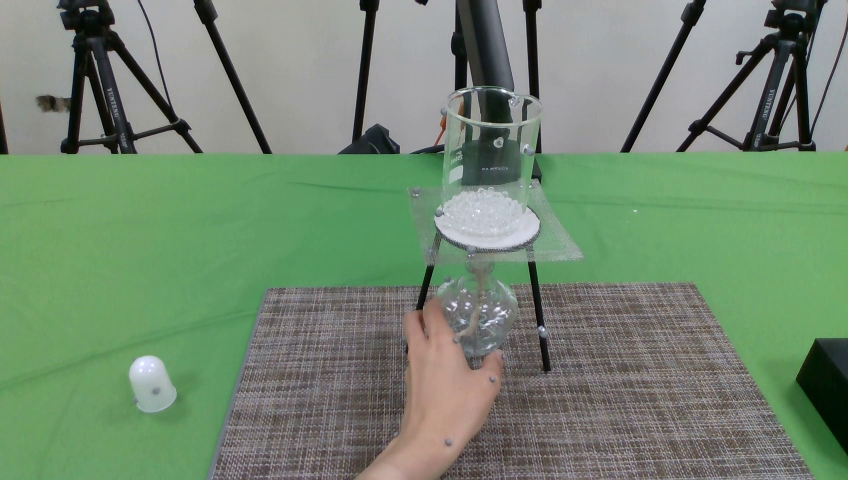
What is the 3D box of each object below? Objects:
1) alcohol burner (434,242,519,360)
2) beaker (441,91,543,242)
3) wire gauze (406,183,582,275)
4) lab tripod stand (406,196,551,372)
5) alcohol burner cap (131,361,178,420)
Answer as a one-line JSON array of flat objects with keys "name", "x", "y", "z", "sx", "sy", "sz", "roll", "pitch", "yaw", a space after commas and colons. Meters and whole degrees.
[{"name": "alcohol burner", "x": 0.048, "y": 0.050, "z": 0.541, "sx": 0.078, "sy": 0.120, "sz": 0.077, "roll": 1, "pitch": 36, "yaw": -1}, {"name": "beaker", "x": 0.051, "y": -0.057, "z": 0.476, "sx": 0.073, "sy": 0.101, "sz": 0.084, "roll": 21, "pitch": 38, "yaw": 24}, {"name": "wire gauze", "x": 0.052, "y": -0.012, "z": 0.497, "sx": 0.125, "sy": 0.011, "sz": 0.120, "roll": -1, "pitch": 36, "yaw": -9}, {"name": "lab tripod stand", "x": 0.056, "y": 0.040, "z": 0.538, "sx": 0.148, "sy": 0.132, "sz": 0.147, "roll": 2, "pitch": 34, "yaw": -1}, {"name": "alcohol burner cap", "x": -0.226, "y": 0.123, "z": 0.503, "sx": 0.034, "sy": 0.048, "sz": 0.033, "roll": 1, "pitch": 35, "yaw": 0}]
